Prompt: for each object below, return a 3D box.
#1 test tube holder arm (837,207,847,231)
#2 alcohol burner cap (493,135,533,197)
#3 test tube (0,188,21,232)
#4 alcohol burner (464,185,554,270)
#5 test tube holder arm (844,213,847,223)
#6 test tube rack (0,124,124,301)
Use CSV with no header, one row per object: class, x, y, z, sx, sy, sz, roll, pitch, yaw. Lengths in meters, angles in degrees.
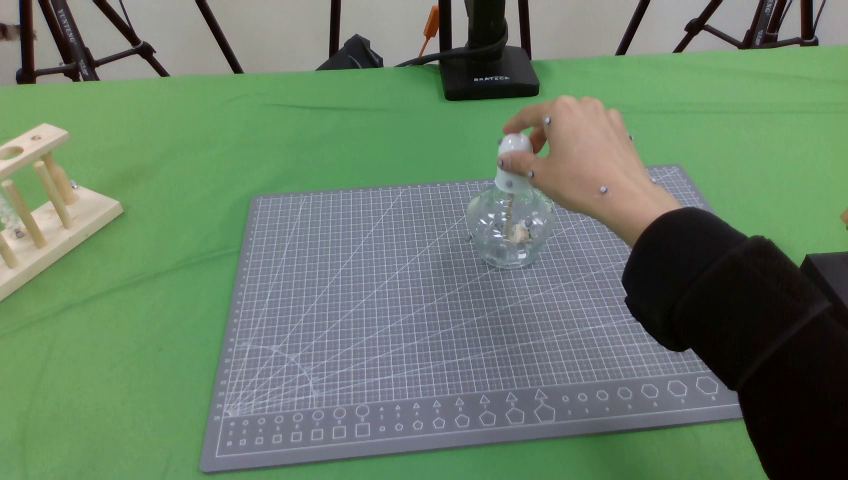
test tube holder arm,0.349,0.007,0.467,0.010,0.015,0.087,2,42,-7
alcohol burner cap,0.072,-0.061,0.488,0.034,0.048,0.033,-3,43,3
test tube,-0.382,-0.067,0.512,0.017,0.151,0.017,-2,40,2
alcohol burner,0.073,-0.034,0.515,0.078,0.120,0.077,-1,40,1
test tube holder arm,0.358,0.037,0.435,0.013,0.015,0.176,2,43,-8
test tube rack,-0.385,0.003,0.509,0.066,0.086,0.241,20,46,21
